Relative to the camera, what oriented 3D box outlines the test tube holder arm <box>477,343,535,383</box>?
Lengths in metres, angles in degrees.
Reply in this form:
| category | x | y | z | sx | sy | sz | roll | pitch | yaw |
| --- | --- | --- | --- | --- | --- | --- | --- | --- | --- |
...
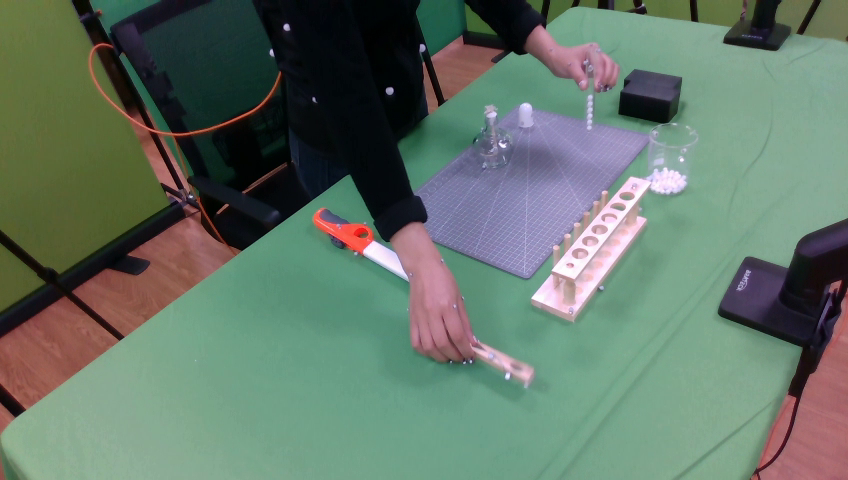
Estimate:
| category | x | y | z | sx | sy | sz | roll | pitch | yaw |
| --- | --- | --- | --- | --- | --- | --- | --- | --- | --- |
| test tube holder arm | 0.101 | 0.156 | 0.766 | 0.087 | 0.015 | 0.010 | 23 | 48 | 32 |

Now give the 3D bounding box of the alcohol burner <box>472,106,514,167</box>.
| category | x | y | z | sx | sy | sz | roll | pitch | yaw |
| --- | --- | --- | --- | --- | --- | --- | --- | --- | --- |
| alcohol burner | 0.126 | -0.194 | 1.111 | 0.078 | 0.119 | 0.077 | -5 | 42 | 5 |

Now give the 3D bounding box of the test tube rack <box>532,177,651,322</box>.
| category | x | y | z | sx | sy | sz | roll | pitch | yaw |
| --- | --- | --- | --- | --- | --- | --- | --- | --- | --- |
| test tube rack | 0.248 | 0.003 | 0.883 | 0.066 | 0.085 | 0.243 | 22 | 49 | 32 |

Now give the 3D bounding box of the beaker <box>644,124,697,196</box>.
| category | x | y | z | sx | sy | sz | roll | pitch | yaw |
| --- | --- | --- | --- | --- | --- | --- | --- | --- | --- |
| beaker | 0.407 | -0.131 | 1.001 | 0.084 | 0.101 | 0.073 | -20 | 42 | -14 |

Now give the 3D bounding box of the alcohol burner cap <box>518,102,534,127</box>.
| category | x | y | z | sx | sy | sz | roll | pitch | yaw |
| --- | --- | --- | --- | --- | --- | --- | --- | --- | --- |
| alcohol burner cap | 0.205 | -0.255 | 1.223 | 0.034 | 0.048 | 0.033 | -6 | 40 | 6 |

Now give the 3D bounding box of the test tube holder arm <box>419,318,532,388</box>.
| category | x | y | z | sx | sy | sz | roll | pitch | yaw |
| --- | --- | --- | --- | --- | --- | --- | --- | --- | --- |
| test tube holder arm | 0.063 | 0.144 | 0.786 | 0.177 | 0.015 | 0.013 | 23 | 48 | 32 |

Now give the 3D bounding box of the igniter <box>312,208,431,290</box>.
| category | x | y | z | sx | sy | sz | roll | pitch | yaw |
| --- | --- | --- | --- | --- | --- | --- | --- | --- | --- |
| igniter | -0.096 | 0.008 | 0.985 | 0.274 | 0.025 | 0.057 | 29 | 62 | 36 |

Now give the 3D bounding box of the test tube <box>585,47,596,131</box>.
| category | x | y | z | sx | sy | sz | roll | pitch | yaw |
| --- | --- | --- | --- | --- | --- | --- | --- | --- | --- |
| test tube | 0.274 | -0.246 | 0.997 | 0.017 | 0.151 | 0.017 | -7 | 42 | 7 |
